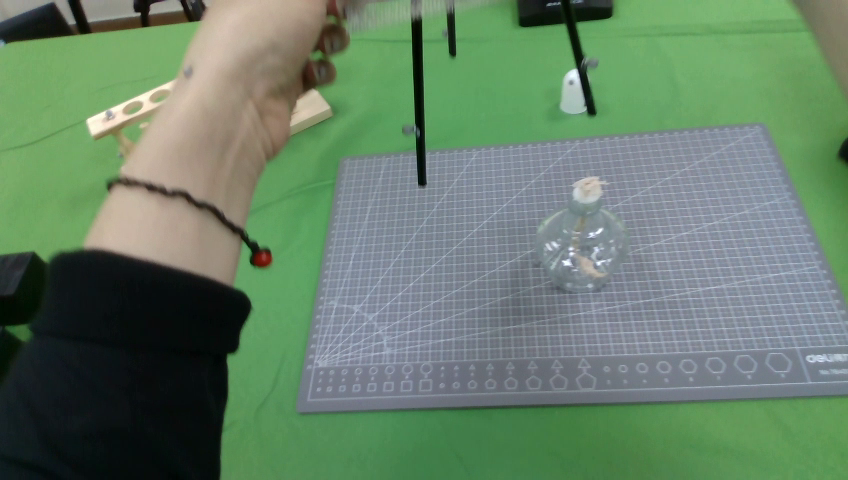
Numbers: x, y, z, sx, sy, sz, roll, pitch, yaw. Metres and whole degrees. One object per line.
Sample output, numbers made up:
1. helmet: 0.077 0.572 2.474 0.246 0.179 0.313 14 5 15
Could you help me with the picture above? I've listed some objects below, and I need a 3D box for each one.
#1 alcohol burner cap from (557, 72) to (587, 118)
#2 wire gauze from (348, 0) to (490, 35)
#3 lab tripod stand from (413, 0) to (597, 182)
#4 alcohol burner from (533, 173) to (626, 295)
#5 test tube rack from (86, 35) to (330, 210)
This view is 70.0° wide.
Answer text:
1. alcohol burner cap: 0.165 -0.163 0.671 0.034 0.048 0.033 -5 52 7
2. wire gauze: 0.020 -0.162 0.313 0.121 0.011 0.124 -7 61 8
3. lab tripod stand: 0.033 -0.123 0.365 0.148 0.133 0.147 -4 59 8
4. alcohol burner: 0.130 -0.009 0.503 0.078 0.120 0.077 -5 49 6
5. test tube rack: -0.238 -0.136 0.689 0.242 0.086 0.066 -29 53 -13
